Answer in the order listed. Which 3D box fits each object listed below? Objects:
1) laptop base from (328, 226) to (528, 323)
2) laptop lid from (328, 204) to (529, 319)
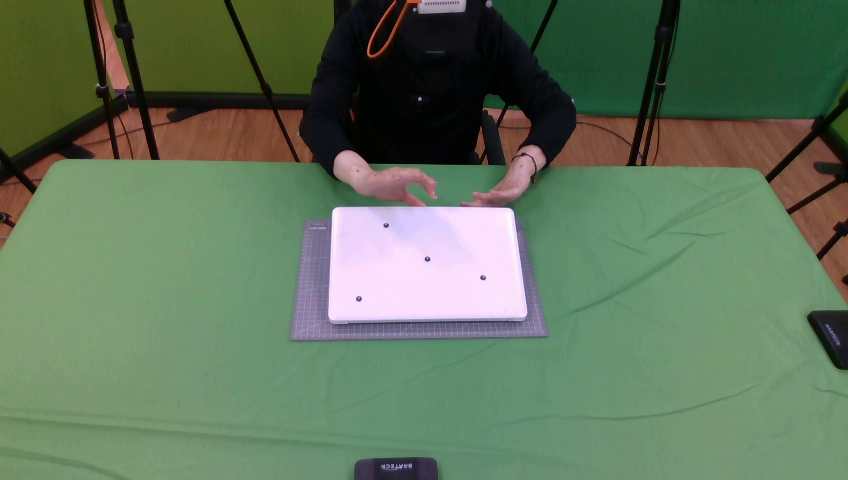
[{"bbox_3d":[0.005,0.061,1.136,0.355,0.023,0.234,0,44,-4],"label":"laptop base"},{"bbox_3d":[0.007,0.034,1.104,0.357,0.013,0.240,1,61,-4],"label":"laptop lid"}]
